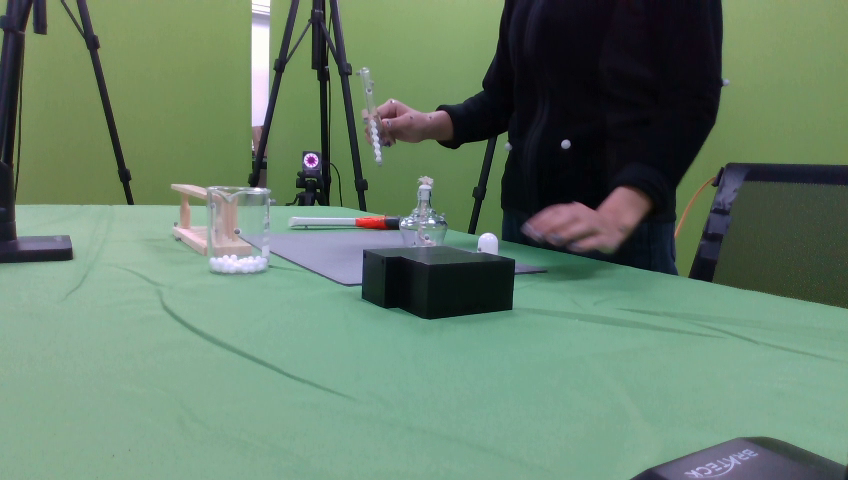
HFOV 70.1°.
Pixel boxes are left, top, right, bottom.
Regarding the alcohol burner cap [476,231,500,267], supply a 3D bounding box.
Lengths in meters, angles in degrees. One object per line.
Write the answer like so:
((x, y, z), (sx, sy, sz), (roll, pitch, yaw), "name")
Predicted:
((0.088, 0.012, 0.830), (0.034, 0.048, 0.034), (2, 7, 0), "alcohol burner cap")

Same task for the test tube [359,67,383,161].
((-0.082, -0.196, 0.941), (0.017, 0.150, 0.017), (-9, -6, -1), "test tube")

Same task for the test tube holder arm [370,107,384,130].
((-0.074, -0.192, 0.963), (0.010, 0.015, 0.088), (-8, -5, 2), "test tube holder arm")

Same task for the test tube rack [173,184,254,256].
((-0.328, -0.036, 0.927), (0.067, 0.085, 0.241), (-2, 9, -32), "test tube rack")

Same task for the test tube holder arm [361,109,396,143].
((-0.073, -0.188, 1.008), (0.013, 0.015, 0.179), (-9, -5, 10), "test tube holder arm")

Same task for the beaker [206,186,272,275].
((-0.220, -0.012, 0.717), (0.074, 0.100, 0.084), (2, 8, -3), "beaker")

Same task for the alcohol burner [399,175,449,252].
((0.000, -0.041, 0.937), (0.078, 0.119, 0.078), (0, 8, 0), "alcohol burner")

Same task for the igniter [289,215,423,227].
((-0.133, -0.038, 1.232), (0.278, 0.025, 0.057), (-1, -2, -25), "igniter")
